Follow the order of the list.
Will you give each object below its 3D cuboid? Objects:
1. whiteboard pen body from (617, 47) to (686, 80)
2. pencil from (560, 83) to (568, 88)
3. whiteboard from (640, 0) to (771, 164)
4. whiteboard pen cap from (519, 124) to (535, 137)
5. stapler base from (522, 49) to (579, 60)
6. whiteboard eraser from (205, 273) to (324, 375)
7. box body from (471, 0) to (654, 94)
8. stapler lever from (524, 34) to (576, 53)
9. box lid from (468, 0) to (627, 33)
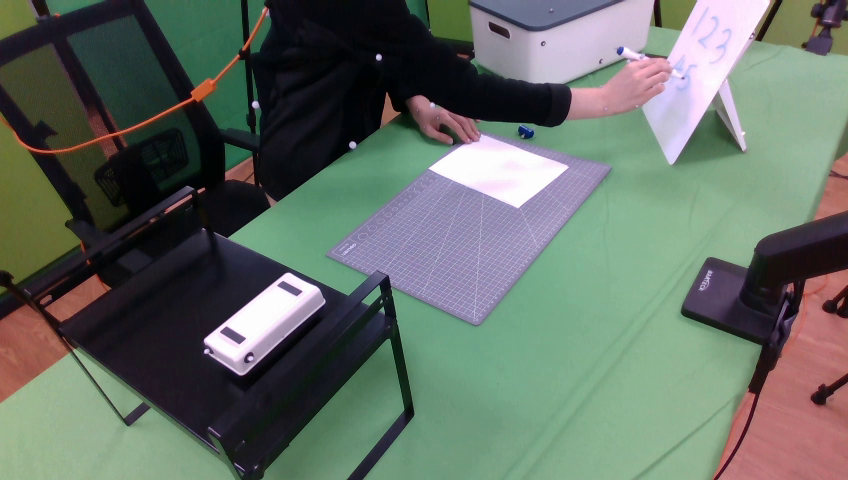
[{"bbox_3d":[0.395,-0.303,1.046,0.141,0.017,0.017,17,38,-15],"label":"whiteboard pen body"},{"bbox_3d":[0.248,-0.394,1.398,0.193,0.012,0.012,33,54,23],"label":"pencil"},{"bbox_3d":[0.543,-0.299,1.076,0.144,0.305,0.216,12,40,-7],"label":"whiteboard"},{"bbox_3d":[0.206,-0.219,1.205,0.018,0.018,0.033,-27,45,-22],"label":"whiteboard pen cap"},{"bbox_3d":[0.300,-0.441,1.434,0.130,0.024,0.041,3,24,18],"label":"stapler base"},{"bbox_3d":[-0.157,0.084,0.605,0.055,0.042,0.113,24,49,30],"label":"whiteboard eraser"},{"bbox_3d":[0.319,-0.498,1.405,0.365,0.161,0.252,-26,43,-21],"label":"box body"},{"bbox_3d":[0.297,-0.462,1.424,0.117,0.040,0.027,5,24,17],"label":"stapler lever"},{"bbox_3d":[0.312,-0.554,1.358,0.373,0.015,0.261,-26,44,-20],"label":"box lid"}]
